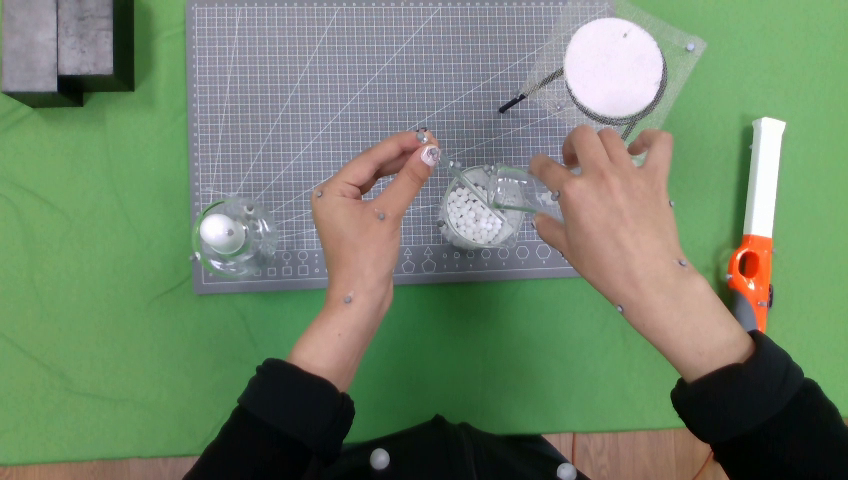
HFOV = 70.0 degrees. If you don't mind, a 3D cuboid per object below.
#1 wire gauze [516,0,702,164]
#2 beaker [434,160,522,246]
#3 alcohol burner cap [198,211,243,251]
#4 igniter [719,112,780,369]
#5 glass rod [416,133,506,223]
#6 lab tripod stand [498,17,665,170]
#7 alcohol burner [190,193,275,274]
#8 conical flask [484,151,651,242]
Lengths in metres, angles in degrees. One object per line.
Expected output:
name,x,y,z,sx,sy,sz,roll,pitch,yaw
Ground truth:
wire gauze,0.157,-0.148,0.516,0.125,0.011,0.121,30,87,-2
beaker,0.049,-0.029,0.585,0.074,0.100,0.084,-38,91,-5
alcohol burner cap,-0.177,-0.010,0.521,0.034,0.048,0.033,1,80,-7
igniter,0.350,0.001,0.648,0.057,0.025,0.276,9,87,-15
glass rod,0.037,-0.046,0.508,0.008,0.201,0.008,-7,71,23
lab tripod stand,0.155,-0.142,0.582,0.148,0.131,0.148,0,88,-3
alcohol burner,-0.179,-0.006,0.557,0.078,0.119,0.078,0,88,-4
conical flask,0.111,-0.040,0.489,0.122,0.075,0.075,6,86,-8
